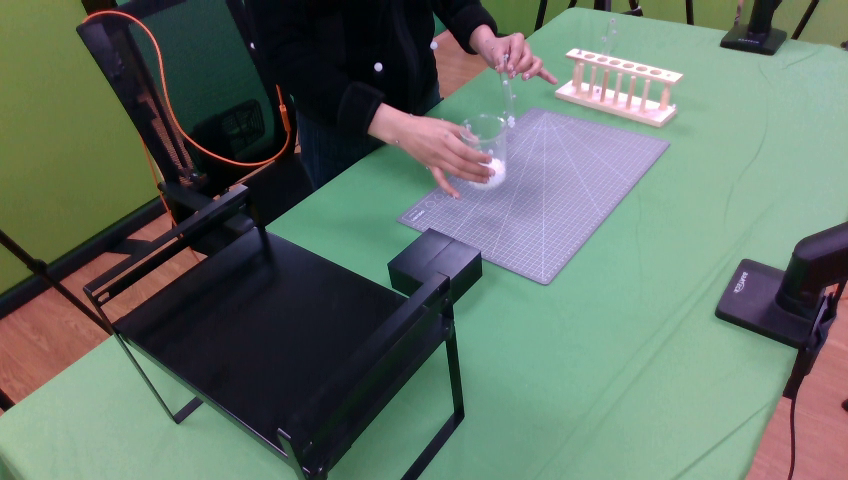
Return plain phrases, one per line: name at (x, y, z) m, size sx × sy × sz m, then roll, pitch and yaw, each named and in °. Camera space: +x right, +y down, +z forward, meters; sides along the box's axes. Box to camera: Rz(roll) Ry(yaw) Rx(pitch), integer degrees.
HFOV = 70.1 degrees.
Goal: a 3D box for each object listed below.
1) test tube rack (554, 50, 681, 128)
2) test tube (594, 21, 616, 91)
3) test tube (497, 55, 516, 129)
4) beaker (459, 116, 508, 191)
test tube rack at (0.388, -0.311, 1.234) m, size 0.240 × 0.085 × 0.067 m, roll 28°, pitch 51°, yaw 34°
test tube at (0.367, -0.372, 1.232) m, size 0.017 × 0.151 × 0.017 m, roll 0°, pitch 43°, yaw 0°
test tube at (0.145, -0.254, 1.054) m, size 0.017 × 0.151 × 0.017 m, roll -8°, pitch 48°, yaw 10°
beaker at (0.100, -0.136, 0.964) m, size 0.084 × 0.101 × 0.073 m, roll -27°, pitch 47°, yaw -19°
